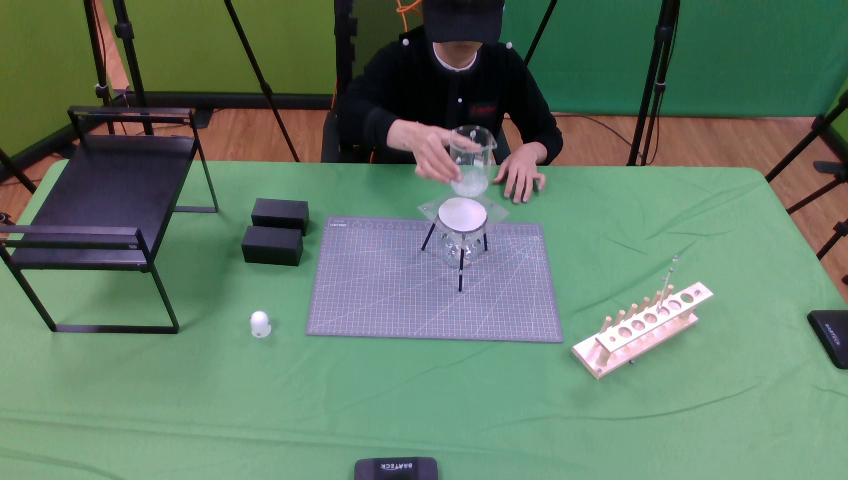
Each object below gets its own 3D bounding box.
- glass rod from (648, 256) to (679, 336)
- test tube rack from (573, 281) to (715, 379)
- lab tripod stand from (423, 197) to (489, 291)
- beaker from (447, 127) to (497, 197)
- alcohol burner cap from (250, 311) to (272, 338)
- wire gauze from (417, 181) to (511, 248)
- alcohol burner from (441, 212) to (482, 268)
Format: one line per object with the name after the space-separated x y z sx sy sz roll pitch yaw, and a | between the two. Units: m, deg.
0.390 0.095 0.990 0.008 0.201 0.008 -2 45 2 | glass rod
0.378 0.140 1.038 0.242 0.085 0.066 -22 51 -22 | test tube rack
0.064 -0.002 1.119 0.148 0.132 0.147 1 47 0 | lab tripod stand
0.080 -0.129 1.024 0.084 0.101 0.073 12 45 14 | beaker
-0.278 0.141 1.026 0.034 0.048 0.033 1 46 -1 | alcohol burner cap
0.071 -0.051 1.073 0.121 0.011 0.124 -32 55 -28 | wire gauze
0.071 -0.005 1.136 0.078 0.120 0.077 1 44 -1 | alcohol burner
